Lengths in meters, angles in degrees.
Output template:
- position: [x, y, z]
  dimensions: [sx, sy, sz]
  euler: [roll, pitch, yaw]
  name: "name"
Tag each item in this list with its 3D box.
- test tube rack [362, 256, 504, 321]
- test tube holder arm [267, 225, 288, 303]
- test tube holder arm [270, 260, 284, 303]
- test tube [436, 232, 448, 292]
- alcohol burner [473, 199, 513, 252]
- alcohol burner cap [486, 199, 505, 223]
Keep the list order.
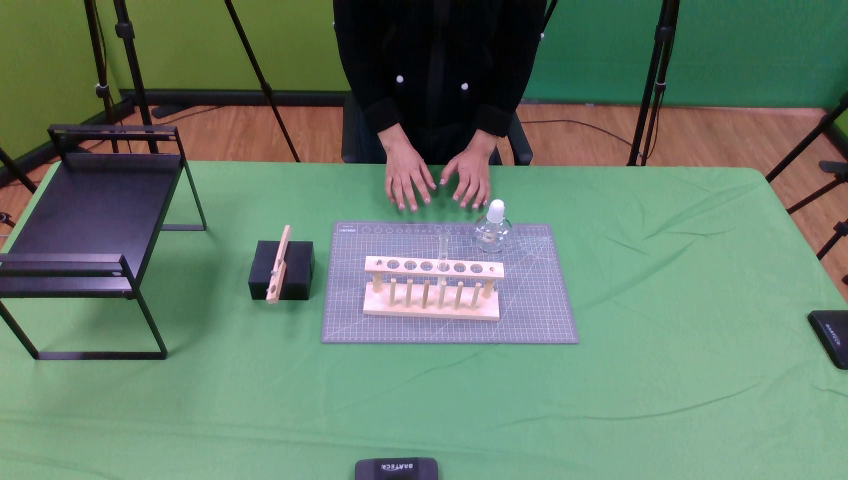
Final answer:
- position: [0.015, 0.085, 1.069]
  dimensions: [0.242, 0.085, 0.066]
  euler: [3, 45, -2]
  name: "test tube rack"
- position: [-0.259, 0.039, 1.077]
  dimensions: [0.013, 0.015, 0.177]
  euler: [-5, 46, 2]
  name: "test tube holder arm"
- position: [-0.252, 0.071, 1.045]
  dimensions: [0.010, 0.015, 0.087]
  euler: [-4, 46, 2]
  name: "test tube holder arm"
- position: [0.030, 0.042, 1.042]
  dimensions: [0.017, 0.151, 0.017]
  euler: [1, 48, -1]
  name: "test tube"
- position: [0.135, -0.034, 1.174]
  dimensions: [0.078, 0.120, 0.077]
  euler: [1, 47, -1]
  name: "alcohol burner"
- position: [0.136, -0.058, 1.148]
  dimensions: [0.034, 0.048, 0.033]
  euler: [4, 51, -4]
  name: "alcohol burner cap"
